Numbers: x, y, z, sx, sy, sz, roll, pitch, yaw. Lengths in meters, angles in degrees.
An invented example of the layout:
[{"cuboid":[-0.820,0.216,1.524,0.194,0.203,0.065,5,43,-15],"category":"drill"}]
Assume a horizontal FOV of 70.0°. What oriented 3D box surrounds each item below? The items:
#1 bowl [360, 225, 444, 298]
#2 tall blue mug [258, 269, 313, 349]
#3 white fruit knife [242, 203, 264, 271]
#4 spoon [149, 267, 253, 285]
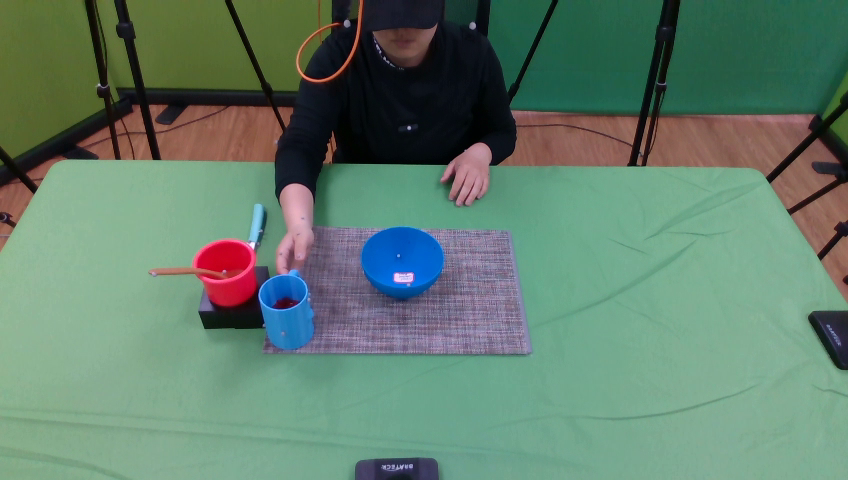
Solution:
[{"cuboid":[-0.040,0.053,1.099,0.151,0.077,0.150,2,46,-2],"category":"bowl"},{"cuboid":[-0.232,0.108,1.010,0.078,0.108,0.106,-15,49,-17],"category":"tall blue mug"},{"cuboid":[-0.334,0.001,1.178,0.027,0.016,0.206,-19,46,17],"category":"white fruit knife"},{"cuboid":[-0.351,0.052,0.968,0.041,0.021,0.194,41,13,28],"category":"spoon"}]
